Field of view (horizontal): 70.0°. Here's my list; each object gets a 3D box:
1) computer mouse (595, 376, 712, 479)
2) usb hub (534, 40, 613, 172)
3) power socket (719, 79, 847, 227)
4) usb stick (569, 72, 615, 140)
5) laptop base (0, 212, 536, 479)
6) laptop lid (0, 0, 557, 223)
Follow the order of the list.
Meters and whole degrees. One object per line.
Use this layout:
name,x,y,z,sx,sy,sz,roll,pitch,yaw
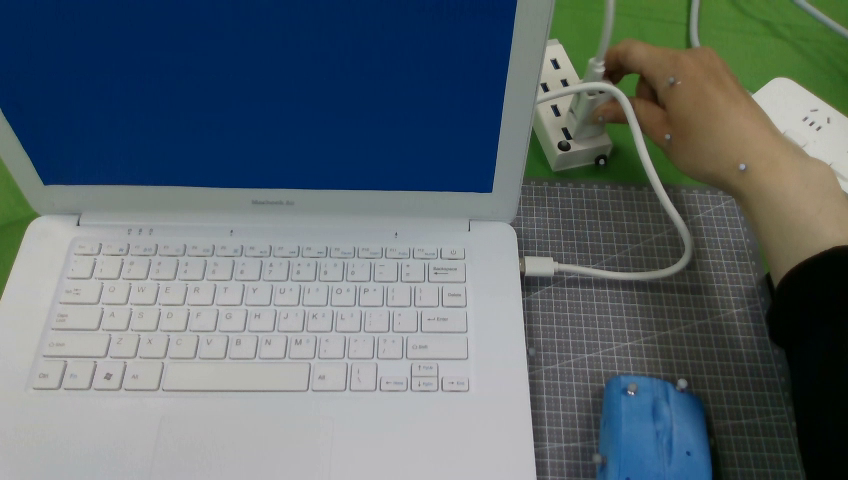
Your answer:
computer mouse,0.136,0.136,0.361,0.062,0.041,0.116,13,56,8
usb hub,0.112,-0.117,0.517,0.049,0.025,0.124,-12,61,-9
power socket,0.347,-0.048,0.483,0.072,0.033,0.225,-35,66,-21
usb stick,0.130,-0.099,0.472,0.027,0.060,0.021,-30,55,-12
laptop base,-0.108,0.089,0.394,0.354,0.023,0.233,1,63,-1
laptop lid,-0.105,-0.096,0.366,0.357,0.244,0.013,0,46,0
